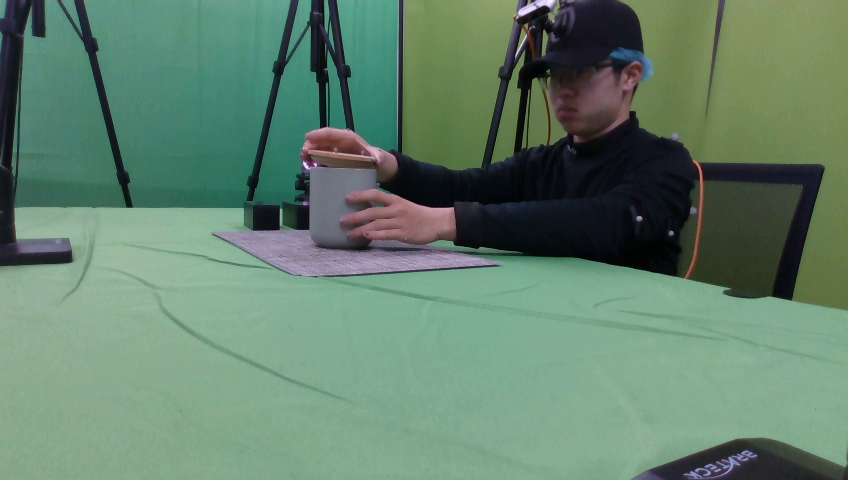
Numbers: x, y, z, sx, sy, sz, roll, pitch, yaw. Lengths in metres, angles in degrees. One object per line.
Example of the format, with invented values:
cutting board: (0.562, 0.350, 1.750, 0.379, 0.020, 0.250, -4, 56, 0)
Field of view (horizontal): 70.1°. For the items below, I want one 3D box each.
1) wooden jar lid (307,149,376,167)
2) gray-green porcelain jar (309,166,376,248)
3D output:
wooden jar lid: (-0.131, -0.129, 0.955, 0.108, 0.020, 0.108, 7, 7, -1)
gray-green porcelain jar: (-0.130, -0.054, 0.966, 0.106, 0.126, 0.106, 2, 7, 0)
